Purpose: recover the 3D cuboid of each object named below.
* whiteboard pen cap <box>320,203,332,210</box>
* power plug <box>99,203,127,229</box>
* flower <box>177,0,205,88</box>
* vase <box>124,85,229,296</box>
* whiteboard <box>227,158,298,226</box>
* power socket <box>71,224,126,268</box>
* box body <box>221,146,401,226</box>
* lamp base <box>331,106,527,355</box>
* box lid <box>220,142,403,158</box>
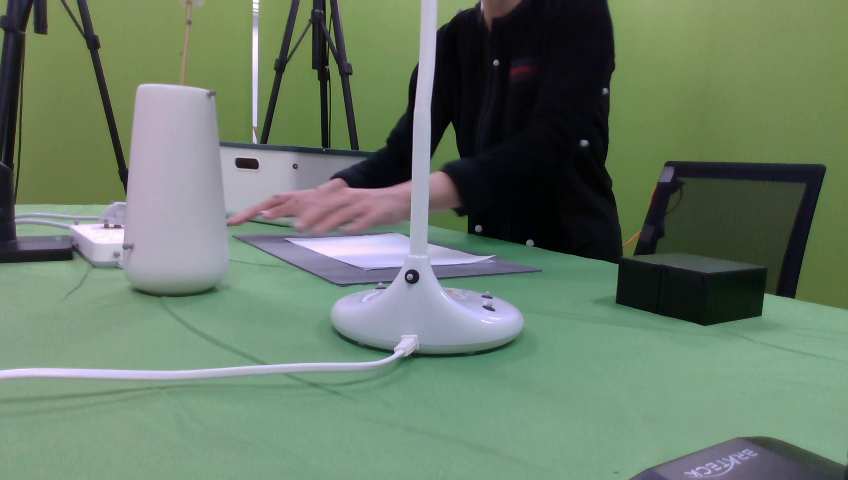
[{"bbox_3d":[-0.247,-0.084,1.531,0.033,0.018,0.018,9,10,39],"label":"whiteboard pen cap"},{"bbox_3d":[-0.415,-0.026,0.848,0.073,0.052,0.035,6,5,-27],"label":"power plug"},{"bbox_3d":[-0.243,-0.131,0.609,0.044,0.361,0.038,-5,-12,12],"label":"flower"},{"bbox_3d":[-0.244,-0.047,0.598,0.098,0.200,0.098,3,8,0],"label":"vase"},{"bbox_3d":[-0.265,-0.116,1.372,0.216,0.143,0.307,4,7,35],"label":"whiteboard"},{"bbox_3d":[-0.409,0.004,0.793,0.072,0.032,0.225,-2,8,-37],"label":"power socket"},{"bbox_3d":[-0.254,-0.128,1.379,0.253,0.160,0.366,8,9,36],"label":"box body"},{"bbox_3d":[0.006,-0.012,0.478,0.161,0.180,0.179,2,10,2],"label":"lamp base"},{"bbox_3d":[-0.252,-0.202,1.368,0.262,0.015,0.373,9,9,36],"label":"box lid"}]
